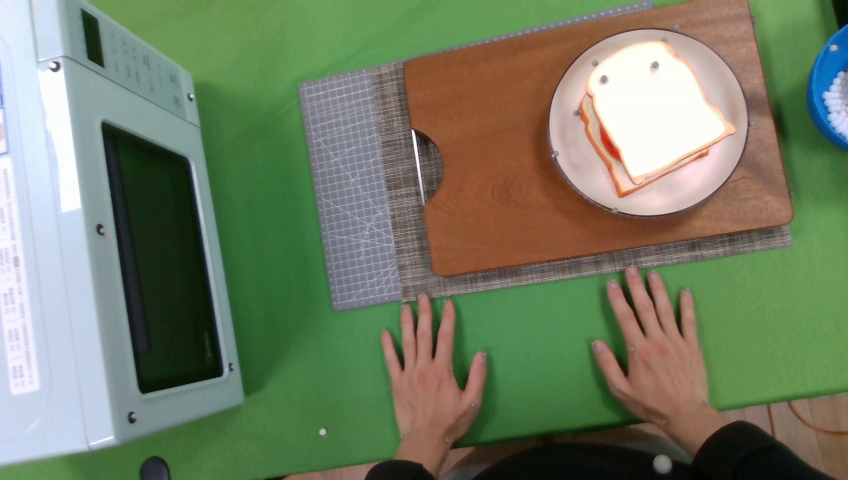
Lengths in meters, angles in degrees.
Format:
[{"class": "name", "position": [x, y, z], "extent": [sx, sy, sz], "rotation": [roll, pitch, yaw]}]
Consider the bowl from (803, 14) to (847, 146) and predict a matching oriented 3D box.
[{"class": "bowl", "position": [0.472, -0.159, 0.640], "extent": [0.151, 0.077, 0.151], "rotation": [-1, 85, 10]}]

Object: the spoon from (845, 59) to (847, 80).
[{"class": "spoon", "position": [0.477, -0.115, 0.605], "extent": [0.041, 0.022, 0.192], "rotation": [-12, 60, 6]}]

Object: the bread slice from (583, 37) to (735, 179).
[{"class": "bread slice", "position": [0.224, -0.138, 0.612], "extent": [0.107, 0.018, 0.133], "rotation": [-32, 75, 6]}]

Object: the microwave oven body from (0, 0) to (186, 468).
[{"class": "microwave oven body", "position": [-0.438, 0.011, 0.683], "extent": [0.326, 0.261, 0.440], "rotation": [-13, 84, 8]}]

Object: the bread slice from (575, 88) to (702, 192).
[{"class": "bread slice", "position": [0.230, -0.131, 0.673], "extent": [0.105, 0.019, 0.131], "rotation": [-28, 84, 4]}]

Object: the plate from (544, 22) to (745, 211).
[{"class": "plate", "position": [0.237, -0.133, 0.668], "extent": [0.207, 0.039, 0.207], "rotation": [-1, 85, 10]}]

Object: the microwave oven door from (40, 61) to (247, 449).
[{"class": "microwave oven door", "position": [-0.289, 0.019, 0.652], "extent": [0.039, 0.245, 0.354], "rotation": [-13, 83, 9]}]

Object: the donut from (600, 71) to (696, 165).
[{"class": "donut", "position": [0.235, -0.128, 0.639], "extent": [0.099, 0.048, 0.099], "rotation": [0, 88, 3]}]

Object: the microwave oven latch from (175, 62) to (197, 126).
[{"class": "microwave oven latch", "position": [-0.314, -0.184, 0.777], "extent": [0.030, 0.029, 0.079], "rotation": [-12, 84, 8]}]
